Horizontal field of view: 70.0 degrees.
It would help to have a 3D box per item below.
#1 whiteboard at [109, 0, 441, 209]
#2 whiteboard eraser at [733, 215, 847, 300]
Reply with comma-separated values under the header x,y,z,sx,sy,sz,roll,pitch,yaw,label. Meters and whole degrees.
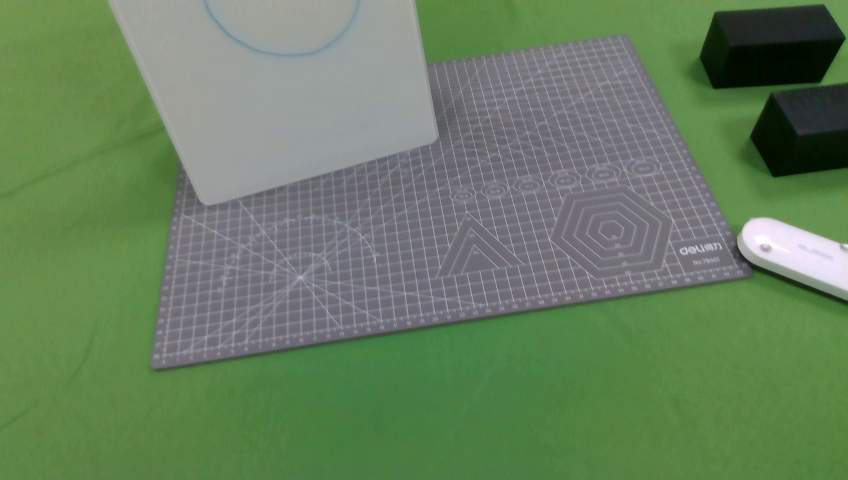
x,y,z,sx,sy,sz,roll,pitch,yaw,label
-0.129,-0.216,0.501,0.217,0.308,0.142,-17,36,-6,whiteboard
0.285,0.012,0.448,0.100,0.019,0.041,24,60,19,whiteboard eraser
